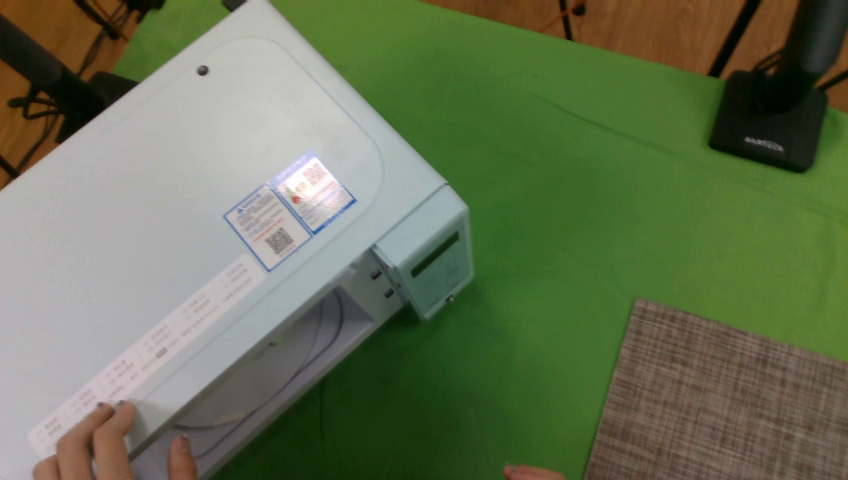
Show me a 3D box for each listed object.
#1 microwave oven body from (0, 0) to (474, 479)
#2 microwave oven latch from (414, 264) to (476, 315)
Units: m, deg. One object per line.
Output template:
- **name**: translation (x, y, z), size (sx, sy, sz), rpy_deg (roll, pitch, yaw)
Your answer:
- **microwave oven body**: translation (-0.216, 0.035, 0.623), size (0.441, 0.262, 0.324), rpy_deg (-42, 74, -7)
- **microwave oven latch**: translation (0.024, 0.050, 0.696), size (0.079, 0.030, 0.030), rpy_deg (-40, 74, -6)
